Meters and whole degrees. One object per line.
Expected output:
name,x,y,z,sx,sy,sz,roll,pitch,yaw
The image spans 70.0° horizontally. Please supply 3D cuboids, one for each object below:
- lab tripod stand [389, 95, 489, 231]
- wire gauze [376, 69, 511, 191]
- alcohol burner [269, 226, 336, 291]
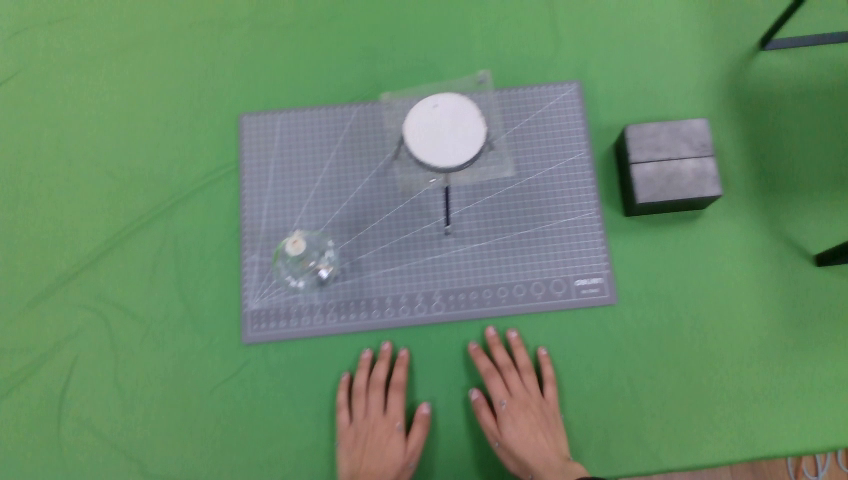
lab tripod stand,0.022,-0.101,0.704,0.148,0.132,0.147,0,73,1
wire gauze,0.019,-0.116,0.639,0.125,0.011,0.121,-11,75,-3
alcohol burner,-0.141,0.017,0.685,0.078,0.120,0.077,0,73,0
